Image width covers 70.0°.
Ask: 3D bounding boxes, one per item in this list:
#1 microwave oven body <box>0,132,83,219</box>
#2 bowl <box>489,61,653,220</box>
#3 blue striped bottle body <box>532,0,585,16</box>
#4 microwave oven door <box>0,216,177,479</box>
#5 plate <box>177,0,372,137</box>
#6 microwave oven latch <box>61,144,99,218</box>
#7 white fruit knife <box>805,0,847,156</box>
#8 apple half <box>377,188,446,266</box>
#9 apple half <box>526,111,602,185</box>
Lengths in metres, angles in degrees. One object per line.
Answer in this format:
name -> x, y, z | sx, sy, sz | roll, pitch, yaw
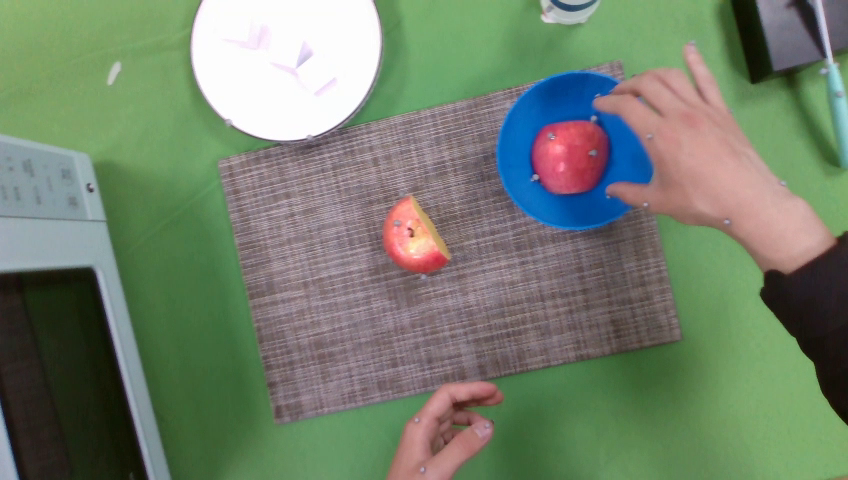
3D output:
microwave oven body -> -0.486, 0.149, 0.574 | 0.326, 0.260, 0.441 | -15, 91, 4
bowl -> 0.140, -0.093, 0.605 | 0.151, 0.077, 0.151 | 0, 92, 5
blue striped bottle body -> 0.137, -0.267, 0.582 | 0.063, 0.121, 0.063 | 0, 91, 5
microwave oven door -> -0.335, 0.152, 0.557 | 0.039, 0.244, 0.355 | -16, 90, 5
plate -> -0.157, -0.212, 0.650 | 0.207, 0.039, 0.207 | 0, 92, 4
microwave oven latch -> -0.381, -0.062, 0.655 | 0.030, 0.029, 0.079 | -15, 91, 4
white fruit knife -> 0.382, -0.174, 0.582 | 0.016, 0.027, 0.208 | -18, 107, 23
apple half -> -0.019, -0.007, 0.624 | 0.053, 0.074, 0.081 | -33, 92, 9
apple half -> 0.141, -0.093, 0.600 | 0.081, 0.033, 0.081 | 0, 92, 6
